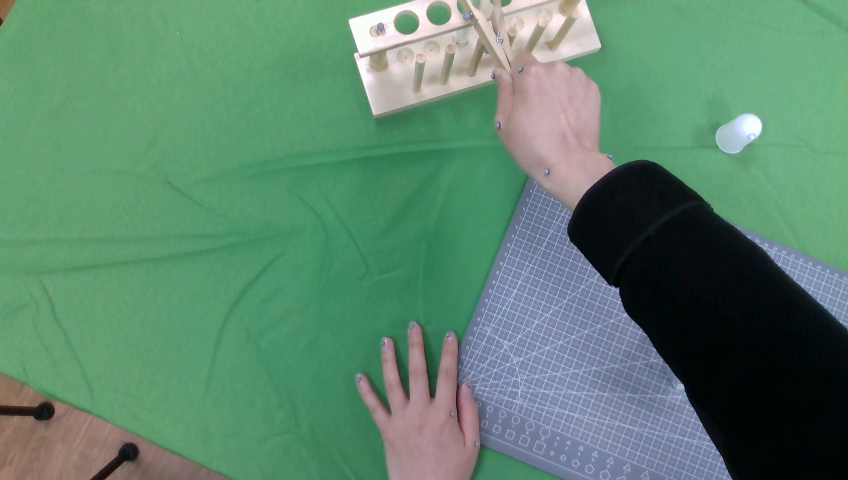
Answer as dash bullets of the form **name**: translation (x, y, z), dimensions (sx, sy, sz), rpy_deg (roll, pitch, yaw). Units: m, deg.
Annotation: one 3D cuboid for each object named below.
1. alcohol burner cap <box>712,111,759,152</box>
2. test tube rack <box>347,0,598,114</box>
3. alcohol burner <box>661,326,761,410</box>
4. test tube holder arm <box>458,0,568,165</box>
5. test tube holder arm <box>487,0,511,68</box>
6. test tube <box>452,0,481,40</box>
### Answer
- **alcohol burner cap**: translation (0.316, -0.111, 0.609), dimensions (0.034, 0.048, 0.033), rpy_deg (0, 80, -2)
- **test tube rack**: translation (0.054, -0.197, 0.578), dimensions (0.242, 0.085, 0.066), rpy_deg (-17, 86, -5)
- **alcohol burner**: translation (0.266, 0.117, 0.551), dimensions (0.078, 0.119, 0.077), rpy_deg (0, 83, -3)
- **test tube holder arm**: translation (0.071, -0.140, 0.505), dimensions (0.013, 0.015, 0.178), rpy_deg (-25, 83, -13)
- **test tube holder arm**: translation (0.060, -0.183, 0.513), dimensions (0.010, 0.015, 0.087), rpy_deg (-7, 79, -11)
- **test tube**: translation (0.043, -0.213, 0.529), dimensions (0.017, 0.150, 0.017), rpy_deg (1, 83, -6)
